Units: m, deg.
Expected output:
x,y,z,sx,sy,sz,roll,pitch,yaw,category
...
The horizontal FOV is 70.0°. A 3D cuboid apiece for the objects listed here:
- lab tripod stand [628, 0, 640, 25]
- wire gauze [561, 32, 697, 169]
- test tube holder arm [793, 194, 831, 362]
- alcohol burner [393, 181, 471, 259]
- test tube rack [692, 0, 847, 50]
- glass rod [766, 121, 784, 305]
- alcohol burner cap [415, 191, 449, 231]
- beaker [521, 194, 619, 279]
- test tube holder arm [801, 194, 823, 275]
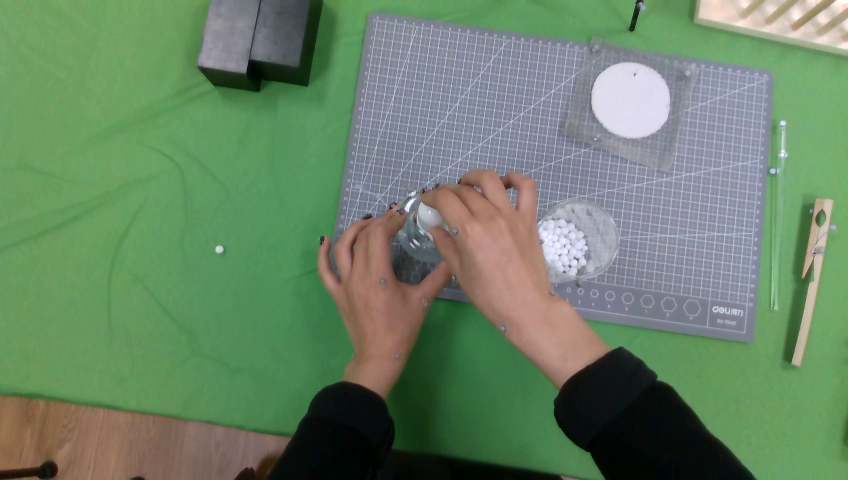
x,y,z,sx,sy,sz,roll,pitch,yaw,category
0.179,-0.297,0.610,0.148,0.131,0.148,0,85,0,lab tripod stand
0.222,-0.154,0.656,0.125,0.011,0.121,19,85,0,wire gauze
0.407,0.039,0.635,0.013,0.015,0.178,8,83,35,test tube holder arm
0.007,-0.022,0.584,0.078,0.119,0.077,0,82,1,alcohol burner
0.423,-0.259,0.635,0.242,0.085,0.066,12,83,0,test tube rack
0.376,-0.030,0.648,0.008,0.008,0.199,6,86,-1,glass rod
0.007,-0.029,0.548,0.034,0.048,0.033,0,78,0,alcohol burner cap
0.134,0.001,0.591,0.084,0.100,0.074,1,83,0,beaker
0.411,-0.006,0.642,0.010,0.015,0.087,8,83,35,test tube holder arm
